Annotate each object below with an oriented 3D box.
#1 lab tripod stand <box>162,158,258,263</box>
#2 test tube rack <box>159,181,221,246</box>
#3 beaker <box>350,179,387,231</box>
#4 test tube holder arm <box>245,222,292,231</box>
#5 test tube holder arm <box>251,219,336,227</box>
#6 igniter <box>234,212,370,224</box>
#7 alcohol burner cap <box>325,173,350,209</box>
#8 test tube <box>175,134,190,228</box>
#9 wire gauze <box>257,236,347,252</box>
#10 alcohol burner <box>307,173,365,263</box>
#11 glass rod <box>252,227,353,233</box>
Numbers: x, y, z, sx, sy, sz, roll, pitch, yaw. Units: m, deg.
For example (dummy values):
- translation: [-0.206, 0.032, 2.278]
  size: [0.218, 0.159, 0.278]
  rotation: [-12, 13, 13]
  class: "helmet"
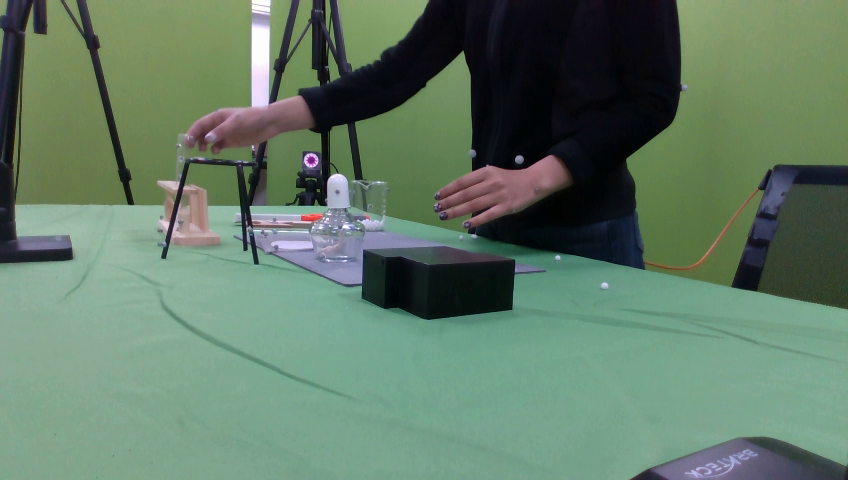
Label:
- translation: [-0.265, -0.041, 0.802]
  size: [0.148, 0.131, 0.148]
  rotation: [4, 7, 0]
  class: "lab tripod stand"
- translation: [-0.396, -0.050, 1.010]
  size: [0.067, 0.085, 0.241]
  rotation: [-2, 8, -28]
  class: "test tube rack"
- translation: [-0.111, -0.069, 1.204]
  size: [0.074, 0.100, 0.084]
  rotation: [2, 8, 0]
  class: "beaker"
- translation: [-0.291, -0.026, 1.130]
  size: [0.088, 0.015, 0.010]
  rotation: [-2, 46, -30]
  class: "test tube holder arm"
- translation: [-0.254, -0.031, 1.157]
  size: [0.179, 0.015, 0.013]
  rotation: [-3, 47, -31]
  class: "test tube holder arm"
- translation: [-0.246, -0.045, 1.247]
  size: [0.278, 0.025, 0.057]
  rotation: [-1, -3, -25]
  class: "igniter"
- translation: [-0.117, -0.065, 0.807]
  size: [0.034, 0.048, 0.034]
  rotation: [-3, 10, 1]
  class: "alcohol burner cap"
- translation: [-0.386, -0.094, 0.963]
  size: [0.017, 0.150, 0.017]
  rotation: [5, 2, 0]
  class: "test tube"
- translation: [-0.190, 0.006, 0.931]
  size: [0.122, 0.011, 0.124]
  rotation: [1, 7, -21]
  class: "wire gauze"
- translation: [-0.117, -0.030, 0.813]
  size: [0.078, 0.119, 0.078]
  rotation: [3, 9, 0]
  class: "alcohol burner"
- translation: [-0.225, -0.017, 1.109]
  size: [0.201, 0.008, 0.008]
  rotation: [1, 7, -27]
  class: "glass rod"
